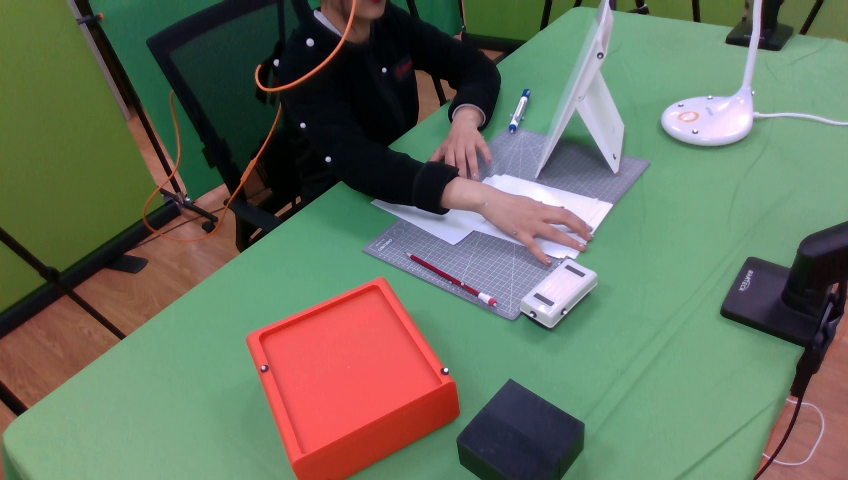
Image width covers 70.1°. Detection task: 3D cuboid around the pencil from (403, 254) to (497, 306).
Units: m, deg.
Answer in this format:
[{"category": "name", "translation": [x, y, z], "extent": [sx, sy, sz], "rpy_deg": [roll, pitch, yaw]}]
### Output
[{"category": "pencil", "translation": [0.034, 0.057, 0.914], "extent": [0.192, 0.012, 0.012], "rpy_deg": [26, 52, 38]}]

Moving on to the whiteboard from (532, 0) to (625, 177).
[{"category": "whiteboard", "translation": [0.321, -0.258, 1.050], "extent": [0.144, 0.306, 0.217], "rpy_deg": [21, 45, 5]}]

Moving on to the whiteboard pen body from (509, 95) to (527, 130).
[{"category": "whiteboard pen body", "translation": [0.199, -0.272, 1.262], "extent": [0.017, 0.017, 0.140], "rpy_deg": [8, 44, 19]}]

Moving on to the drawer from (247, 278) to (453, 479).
[{"category": "drawer", "translation": [-0.096, 0.166, 0.758], "extent": [0.195, 0.073, 0.210], "rpy_deg": [-22, 42, -16]}]

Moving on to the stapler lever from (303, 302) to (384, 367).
[{"category": "stapler lever", "translation": [-0.108, 0.123, 0.805], "extent": [0.118, 0.040, 0.026], "rpy_deg": [-27, 36, -15]}]

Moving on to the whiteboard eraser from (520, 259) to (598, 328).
[{"category": "whiteboard eraser", "translation": [0.189, 0.076, 0.843], "extent": [0.055, 0.042, 0.113], "rpy_deg": [29, 53, 37]}]

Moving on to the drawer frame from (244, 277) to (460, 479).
[{"category": "drawer frame", "translation": [-0.093, 0.167, 0.755], "extent": [0.202, 0.083, 0.211], "rpy_deg": [-23, 43, -17]}]

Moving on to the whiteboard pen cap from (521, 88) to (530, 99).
[{"category": "whiteboard pen cap", "translation": [0.218, -0.312, 1.301], "extent": [0.018, 0.018, 0.033], "rpy_deg": [6, 46, 17]}]

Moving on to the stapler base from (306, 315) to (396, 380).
[{"category": "stapler base", "translation": [-0.101, 0.138, 0.819], "extent": [0.131, 0.024, 0.041], "rpy_deg": [-31, 37, -13]}]

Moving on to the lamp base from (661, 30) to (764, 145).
[{"category": "lamp base", "translation": [0.535, -0.287, 1.096], "extent": [0.179, 0.181, 0.159], "rpy_deg": [-10, 40, -4]}]
